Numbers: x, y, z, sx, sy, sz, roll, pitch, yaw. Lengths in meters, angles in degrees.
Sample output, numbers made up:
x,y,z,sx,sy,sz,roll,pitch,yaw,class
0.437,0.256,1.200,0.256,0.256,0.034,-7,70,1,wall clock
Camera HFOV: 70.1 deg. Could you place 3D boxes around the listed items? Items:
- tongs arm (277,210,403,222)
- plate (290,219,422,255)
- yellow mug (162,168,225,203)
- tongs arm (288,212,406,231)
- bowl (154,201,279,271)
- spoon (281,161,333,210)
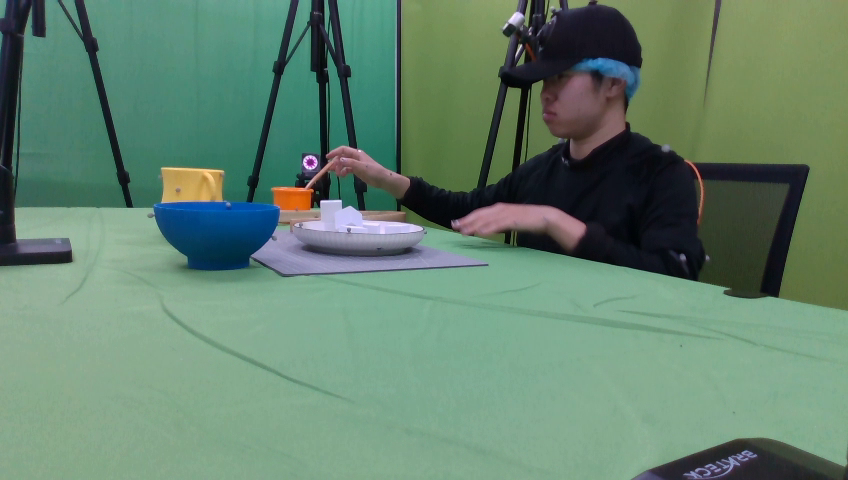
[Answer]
x,y,z,sx,sy,sz,roll,pitch,yaw,class
-0.206,-0.052,1.332,0.387,0.026,0.050,-2,7,-44,tongs arm
-0.108,-0.005,0.963,0.208,0.039,0.207,3,7,0,plate
-0.383,-0.087,1.026,0.130,0.064,0.100,11,11,44,yellow mug
-0.146,-0.041,1.280,0.028,0.028,0.389,2,5,33,tongs arm
-0.263,-0.005,0.773,0.151,0.077,0.151,3,8,0,bowl
-0.263,-0.116,1.359,0.041,0.194,0.022,15,-32,35,spoon
